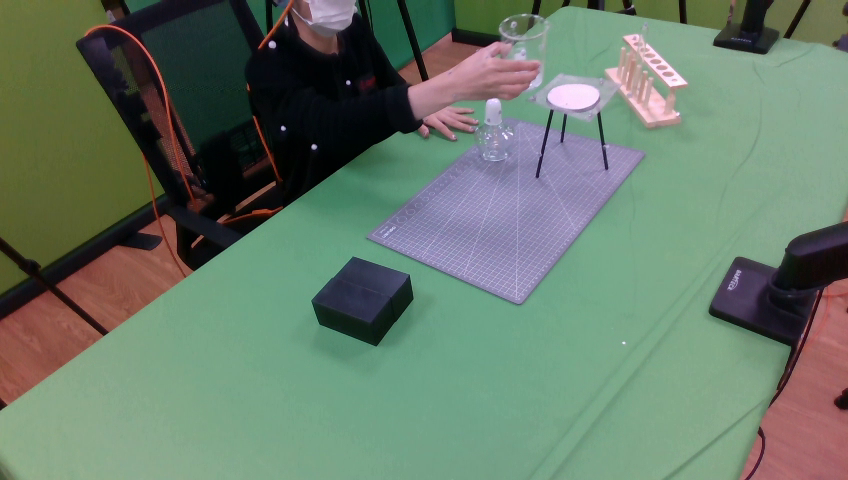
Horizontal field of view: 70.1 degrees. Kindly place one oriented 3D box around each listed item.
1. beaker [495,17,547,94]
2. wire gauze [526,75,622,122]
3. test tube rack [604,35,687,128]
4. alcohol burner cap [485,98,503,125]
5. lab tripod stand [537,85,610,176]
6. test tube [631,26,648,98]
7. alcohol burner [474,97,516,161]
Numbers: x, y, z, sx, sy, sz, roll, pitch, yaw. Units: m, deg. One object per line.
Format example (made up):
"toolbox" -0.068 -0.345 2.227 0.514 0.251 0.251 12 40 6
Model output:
"beaker" 0.156 -0.295 0.973 0.084 0.101 0.073 -13 48 -5
"wire gauze" 0.255 -0.248 1.030 0.124 0.011 0.122 24 51 32
"test tube rack" 0.447 -0.330 1.241 0.067 0.085 0.241 -9 41 -2
"alcohol burner cap" 0.126 -0.234 1.097 0.034 0.048 0.033 -3 39 3
"lab tripod stand" 0.259 -0.192 1.068 0.148 0.132 0.147 -4 43 4
"test tube" 0.427 -0.350 1.199 0.017 0.151 0.017 -4 42 4
"alcohol burner" 0.131 -0.208 1.121 0.078 0.119 0.077 -6 40 5
